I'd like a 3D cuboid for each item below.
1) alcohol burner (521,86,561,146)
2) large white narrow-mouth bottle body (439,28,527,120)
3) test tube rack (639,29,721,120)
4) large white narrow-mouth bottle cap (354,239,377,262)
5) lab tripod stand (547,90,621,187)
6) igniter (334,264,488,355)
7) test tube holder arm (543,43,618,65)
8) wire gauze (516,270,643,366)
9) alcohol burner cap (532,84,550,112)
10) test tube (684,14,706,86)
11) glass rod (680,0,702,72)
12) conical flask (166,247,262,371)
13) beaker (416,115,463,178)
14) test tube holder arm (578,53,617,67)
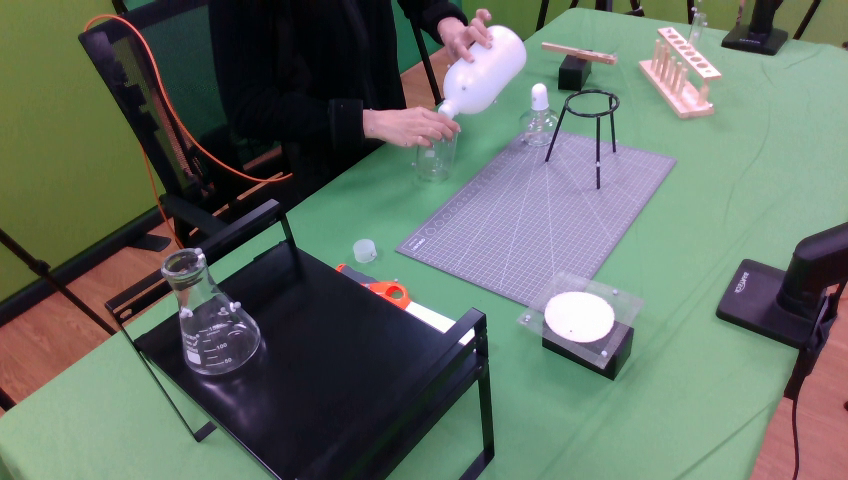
[{"bbox_3d":[0.223,-0.241,1.155,0.078,0.119,0.077,-5,43,5],"label":"alcohol burner"},{"bbox_3d":[0.098,-0.294,1.111,0.101,0.102,0.195,29,70,36],"label":"large white narrow-mouth bottle body"},{"bbox_3d":[0.527,-0.351,1.262,0.067,0.085,0.241,-8,40,1],"label":"test tube rack"},{"bbox_3d":[-0.095,0.017,0.981,0.038,0.024,0.037,-4,40,4],"label":"large white narrow-mouth bottle cap"},{"bbox_3d":[0.289,-0.184,1.062,0.148,0.132,0.147,-6,41,6],"label":"lab tripod stand"},{"bbox_3d":[-0.030,0.095,0.871,0.274,0.025,0.057,22,59,31],"label":"igniter"},{"bbox_3d":[0.344,-0.413,1.340,0.177,0.015,0.013,25,51,31],"label":"test tube holder arm"},{"bbox_3d":[0.200,0.093,0.777,0.124,0.011,0.122,23,49,32],"label":"wire gauze"},{"bbox_3d":[0.218,-0.269,1.133,0.034,0.048,0.033,-8,36,7],"label":"alcohol burner cap"},{"bbox_3d":[0.540,-0.378,1.215,0.017,0.151,0.017,-2,44,3],"label":"test tube"},{"bbox_3d":[0.542,-0.417,1.233,0.008,0.200,0.008,1,40,0],"label":"glass rod"},{"bbox_3d":[-0.208,0.064,0.584,0.075,0.122,0.075,-5,40,4],"label":"conical flask"},{"bbox_3d":[0.027,-0.170,1.110,0.084,0.100,0.073,-6,30,-28],"label":"beaker"},{"bbox_3d":[0.376,-0.393,1.314,0.087,0.015,0.010,26,51,32],"label":"test tube holder arm"}]
